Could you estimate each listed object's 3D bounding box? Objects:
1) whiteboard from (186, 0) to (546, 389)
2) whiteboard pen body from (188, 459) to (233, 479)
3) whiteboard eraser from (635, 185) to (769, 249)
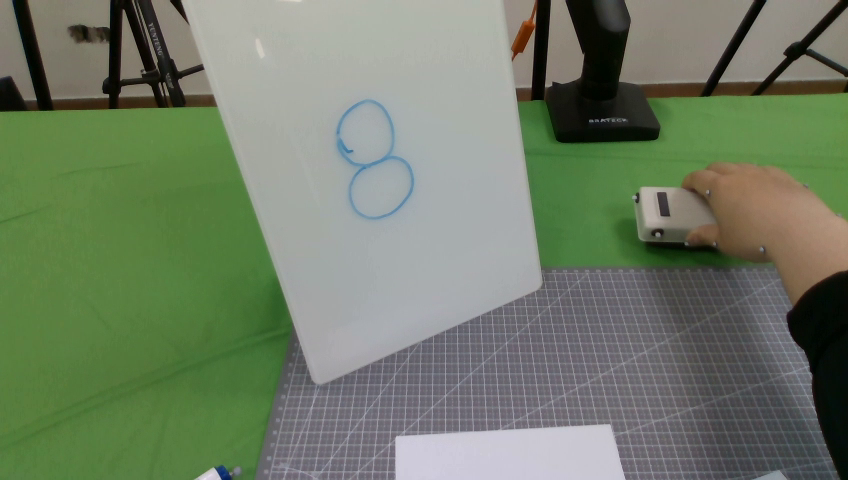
[{"bbox_3d":[-0.044,-0.076,0.500,0.217,0.307,0.142,-20,25,-18],"label":"whiteboard"},{"bbox_3d":[-0.188,0.185,0.382,0.141,0.017,0.017,-28,48,-28],"label":"whiteboard pen body"},{"bbox_3d":[0.261,-0.021,0.576,0.112,0.042,0.055,3,57,5],"label":"whiteboard eraser"}]
